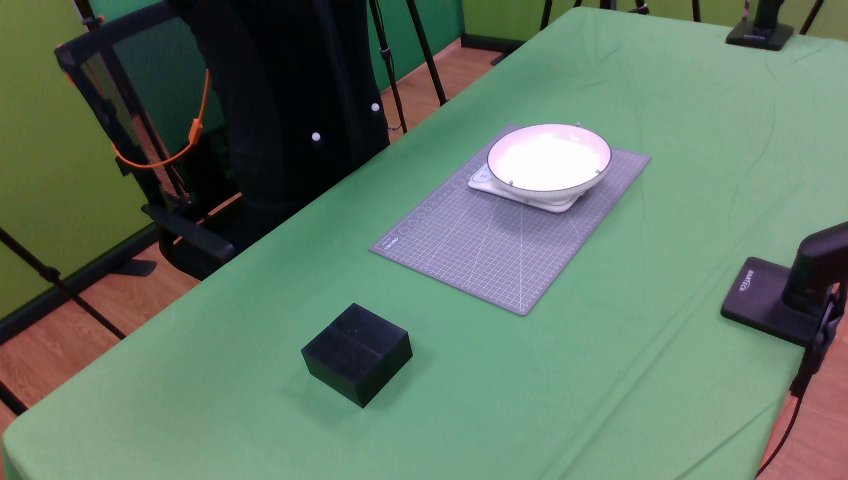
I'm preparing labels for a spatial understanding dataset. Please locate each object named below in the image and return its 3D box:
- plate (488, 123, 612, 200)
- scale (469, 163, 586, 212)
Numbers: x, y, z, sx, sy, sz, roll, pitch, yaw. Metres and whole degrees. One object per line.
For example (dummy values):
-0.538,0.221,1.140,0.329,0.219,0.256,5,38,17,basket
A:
0.214,-0.132,1.037,0.209,0.038,0.208,-6,41,5,plate
0.194,-0.117,1.076,0.199,0.032,0.149,21,48,32,scale
